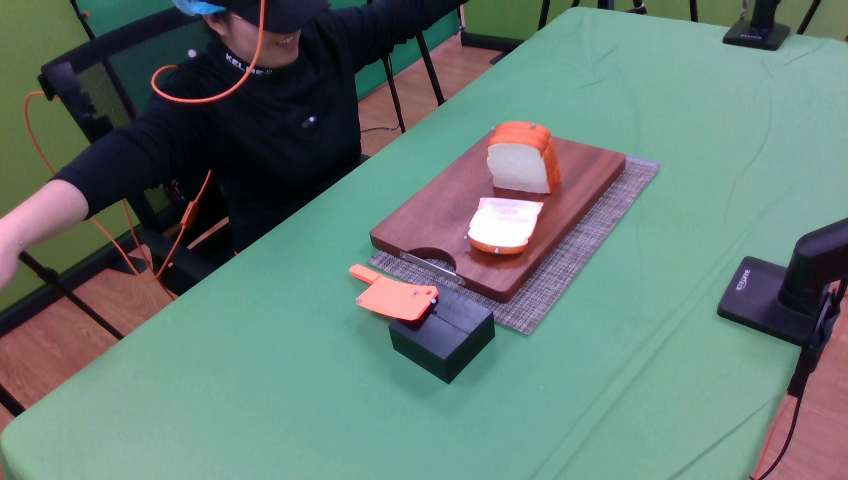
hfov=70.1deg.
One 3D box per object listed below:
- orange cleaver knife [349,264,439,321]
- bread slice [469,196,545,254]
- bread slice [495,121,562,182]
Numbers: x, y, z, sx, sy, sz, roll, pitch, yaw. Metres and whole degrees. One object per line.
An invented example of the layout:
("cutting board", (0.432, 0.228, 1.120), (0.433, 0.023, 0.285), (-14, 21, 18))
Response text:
("orange cleaver knife", (-0.061, 0.073, 0.877), (0.077, 0.012, 0.209), (-39, 32, -27))
("bread slice", (0.124, -0.024, 0.943), (0.104, 0.019, 0.131), (8, 39, 18))
("bread slice", (0.170, -0.143, 0.997), (0.106, 0.135, 0.018), (10, 61, 21))
